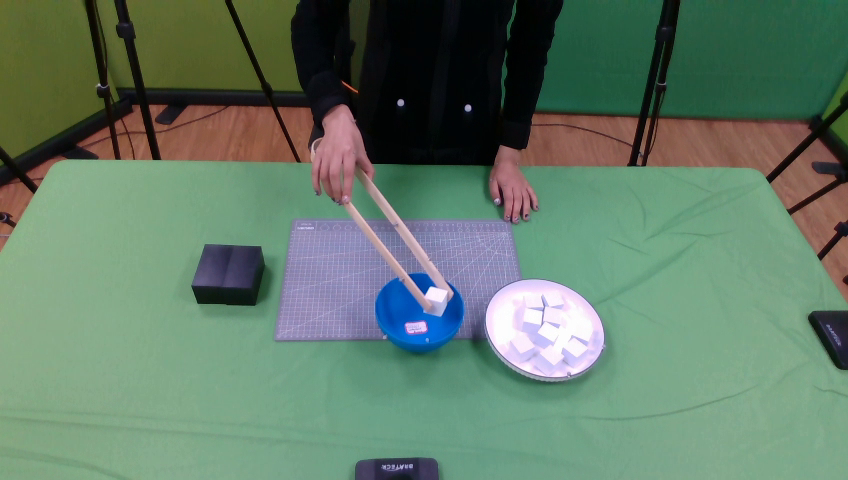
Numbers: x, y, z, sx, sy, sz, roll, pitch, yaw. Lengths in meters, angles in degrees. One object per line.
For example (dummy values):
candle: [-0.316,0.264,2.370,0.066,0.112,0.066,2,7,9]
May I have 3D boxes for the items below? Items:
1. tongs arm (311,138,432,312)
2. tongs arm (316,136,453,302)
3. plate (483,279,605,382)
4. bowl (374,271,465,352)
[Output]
tongs arm: [-0.098,-0.033,1.025,0.028,0.028,0.385,-26,65,-27]
tongs arm: [-0.076,-0.043,1.039,0.051,0.026,0.382,-21,63,-29]
plate: [0.204,0.158,1.046,0.208,0.039,0.206,3,47,-3]
bowl: [-0.009,0.136,1.024,0.151,0.077,0.150,2,47,-2]
